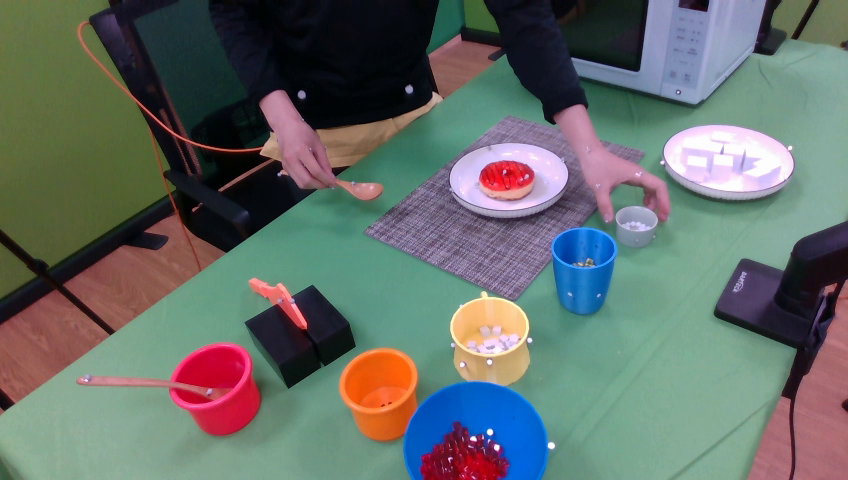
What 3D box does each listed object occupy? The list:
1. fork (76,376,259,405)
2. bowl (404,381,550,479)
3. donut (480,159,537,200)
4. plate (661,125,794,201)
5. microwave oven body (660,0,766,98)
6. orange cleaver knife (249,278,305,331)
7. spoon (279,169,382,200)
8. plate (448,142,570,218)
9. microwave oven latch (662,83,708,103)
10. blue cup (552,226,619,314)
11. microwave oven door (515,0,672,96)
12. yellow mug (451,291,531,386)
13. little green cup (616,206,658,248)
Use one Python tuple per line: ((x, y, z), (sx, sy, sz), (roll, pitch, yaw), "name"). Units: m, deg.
((-0.295, 0.176, 0.716), (0.209, 0.018, 0.028), (20, 26, -37), "fork")
((0.058, 0.235, 0.645), (0.151, 0.077, 0.150), (-4, 39, 4), "bowl")
((0.145, -0.106, 1.043), (0.099, 0.048, 0.098), (-4, 38, 4), "donut")
((0.514, -0.128, 1.035), (0.207, 0.039, 0.206), (-4, 40, 4), "plate")
((0.473, -0.513, 1.317), (0.438, 0.261, 0.327), (26, 51, 34), "microwave oven body")
((-0.210, 0.089, 0.856), (0.012, 0.077, 0.210), (-28, 15, -25), "orange cleaver knife")
((-0.161, -0.099, 1.023), (0.193, 0.022, 0.041), (16, 52, 13), "spoon")
((0.148, -0.101, 1.053), (0.209, 0.038, 0.208), (-4, 40, 4), "plate")
((0.518, -0.297, 1.204), (0.078, 0.029, 0.030), (28, 52, 35), "microwave oven latch")
((0.218, 0.047, 0.825), (0.092, 0.101, 0.092), (-6, 40, 5), "blue cup")
((0.344, -0.455, 1.259), (0.353, 0.245, 0.039), (26, 51, 33), "microwave oven door")
((0.085, 0.120, 0.786), (0.100, 0.064, 0.130), (-6, 39, 1), "yellow mug")
((0.327, -0.019, 0.935), (0.061, 0.039, 0.061), (-3, 41, 3), "little green cup")
